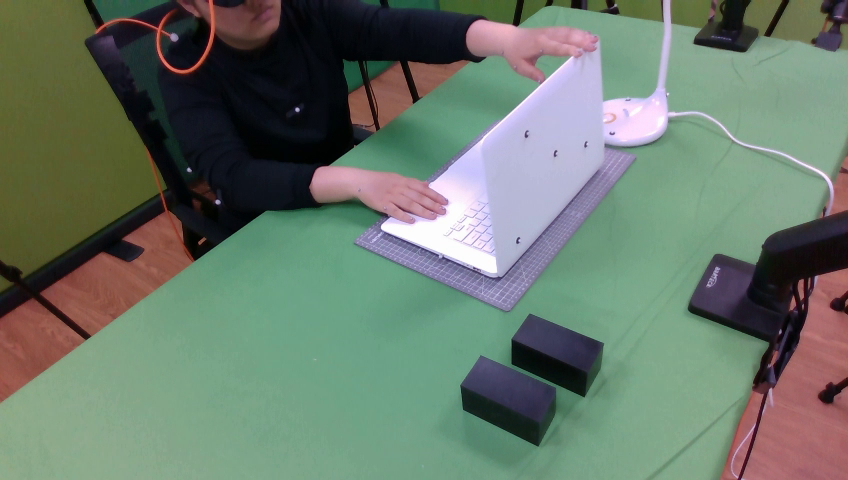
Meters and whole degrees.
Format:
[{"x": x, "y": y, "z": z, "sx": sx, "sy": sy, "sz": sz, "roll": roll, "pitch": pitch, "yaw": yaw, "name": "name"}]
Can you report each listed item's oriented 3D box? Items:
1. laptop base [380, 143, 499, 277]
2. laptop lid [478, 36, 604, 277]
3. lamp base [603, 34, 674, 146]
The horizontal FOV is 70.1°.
[{"x": 0.122, "y": -0.077, "z": 1.043, "sx": 0.233, "sy": 0.023, "sz": 0.355, "roll": 20, "pitch": 47, "yaw": 33, "name": "laptop base"}, {"x": 0.194, "y": -0.132, "z": 0.911, "sx": 0.013, "sy": 0.243, "sz": 0.358, "roll": 17, "pitch": 44, "yaw": 35, "name": "laptop lid"}, {"x": 0.392, "y": -0.291, "z": 1.129, "sx": 0.180, "sy": 0.181, "sz": 0.159, "roll": -11, "pitch": 41, "yaw": -8, "name": "lamp base"}]
